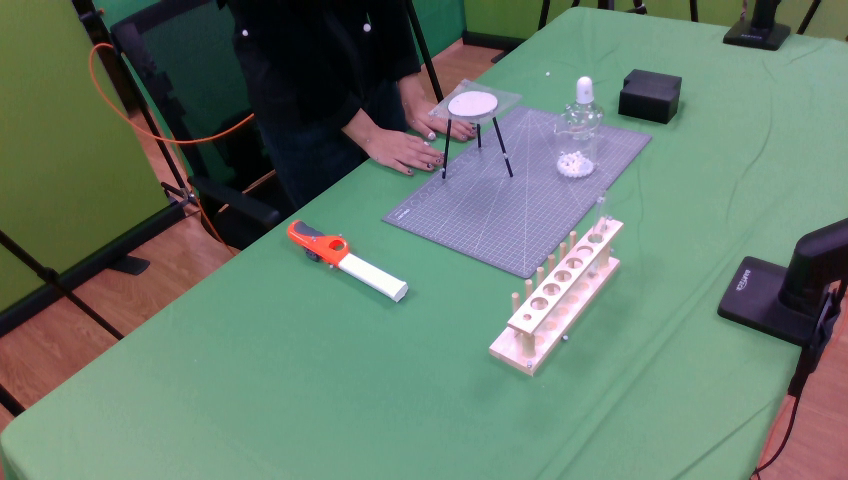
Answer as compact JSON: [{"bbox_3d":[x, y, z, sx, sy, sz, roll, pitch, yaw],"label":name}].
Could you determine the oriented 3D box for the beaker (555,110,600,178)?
[{"bbox_3d":[0.266,-0.165,1.062,0.084,0.101,0.073,-24,42,-16],"label":"beaker"}]

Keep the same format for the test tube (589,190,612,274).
[{"bbox_3d":[0.238,-0.006,0.817,0.017,0.151,0.017,-4,45,4],"label":"test tube"}]

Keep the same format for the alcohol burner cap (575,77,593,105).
[{"bbox_3d":[0.297,-0.279,1.123,0.034,0.048,0.033,-8,41,8],"label":"alcohol burner cap"}]

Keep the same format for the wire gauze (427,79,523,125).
[{"bbox_3d":[0.088,-0.239,1.050,0.120,0.011,0.125,22,50,30],"label":"wire gauze"}]

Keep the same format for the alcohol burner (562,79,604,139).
[{"bbox_3d":[0.303,-0.253,1.147,0.078,0.119,0.077,-4,41,4],"label":"alcohol burner"}]

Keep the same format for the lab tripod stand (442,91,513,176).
[{"bbox_3d":[0.096,-0.190,1.096,0.148,0.132,0.147,-4,40,4],"label":"lab tripod stand"}]

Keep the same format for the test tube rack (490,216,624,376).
[{"bbox_3d":[0.184,0.064,0.822,0.066,0.085,0.243,24,50,33],"label":"test tube rack"}]

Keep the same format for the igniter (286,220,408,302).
[{"bbox_3d":[-0.134,0.028,0.969,0.274,0.025,0.057,26,61,35],"label":"igniter"}]
